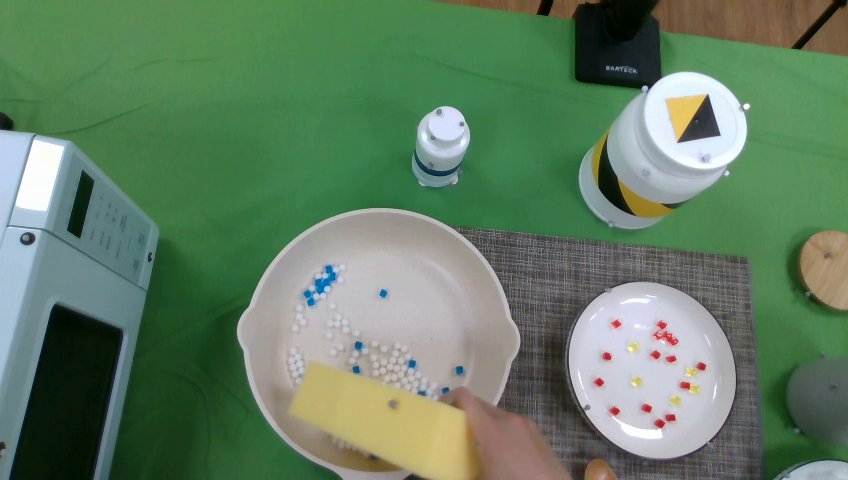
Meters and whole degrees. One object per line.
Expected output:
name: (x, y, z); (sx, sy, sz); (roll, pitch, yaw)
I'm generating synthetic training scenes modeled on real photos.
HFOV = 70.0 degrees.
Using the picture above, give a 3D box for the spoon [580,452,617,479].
spoon: (0.247, 0.320, 0.690); (0.193, 0.022, 0.041); (46, 58, 5)

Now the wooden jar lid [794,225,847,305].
wooden jar lid: (0.540, 0.034, 0.803); (0.108, 0.021, 0.108); (1, 76, -5)

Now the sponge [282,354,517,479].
sponge: (-0.030, 0.176, 0.592); (0.119, 0.205, 0.060); (34, 70, -40)

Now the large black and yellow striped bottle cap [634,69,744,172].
large black and yellow striped bottle cap: (0.282, -0.128, 0.643); (0.115, 0.019, 0.114); (2, 73, -5)

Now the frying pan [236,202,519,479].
frying pan: (-0.055, 0.198, 0.646); (0.307, 0.103, 0.484); (4, 67, -3)

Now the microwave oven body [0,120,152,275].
microwave oven body: (-0.476, 0.131, 0.534); (0.326, 0.261, 0.439); (6, 75, -5)

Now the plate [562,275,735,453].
plate: (0.265, 0.146, 0.729); (0.209, 0.038, 0.208); (2, 75, -5)

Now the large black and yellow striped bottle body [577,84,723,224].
large black and yellow striped bottle body: (0.274, -0.105, 0.725); (0.131, 0.184, 0.130); (2, 74, -5)

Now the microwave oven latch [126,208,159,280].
microwave oven latch: (-0.323, 0.004, 0.685); (0.030, 0.029, 0.079); (9, 75, -4)

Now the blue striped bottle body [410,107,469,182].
blue striped bottle body: (0.018, -0.120, 0.733); (0.063, 0.121, 0.062); (2, 75, -6)

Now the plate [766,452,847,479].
plate: (0.471, 0.353, 0.701); (0.208, 0.039, 0.206); (2, 75, -6)

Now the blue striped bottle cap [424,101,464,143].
blue striped bottle cap: (0.023, -0.134, 0.683); (0.044, 0.021, 0.044); (2, 72, -4)

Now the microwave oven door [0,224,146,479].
microwave oven door: (-0.335, 0.186, 0.530); (0.039, 0.244, 0.354); (6, 74, -4)

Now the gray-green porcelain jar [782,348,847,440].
gray-green porcelain jar: (0.496, 0.179, 0.704); (0.106, 0.127, 0.105); (2, 74, -6)
